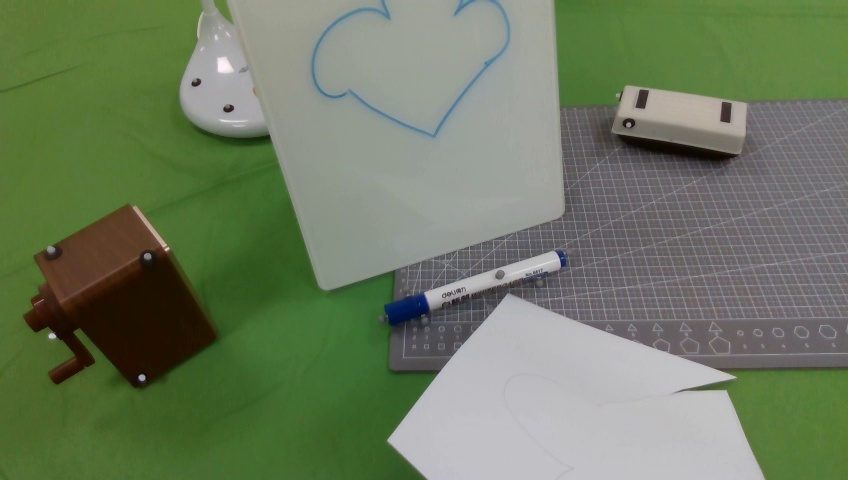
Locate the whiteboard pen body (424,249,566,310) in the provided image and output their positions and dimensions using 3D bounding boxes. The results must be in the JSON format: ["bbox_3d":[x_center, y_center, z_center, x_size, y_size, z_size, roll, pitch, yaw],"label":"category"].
[{"bbox_3d":[0.043,0.033,0.462,0.141,0.017,0.017,-17,50,-9],"label":"whiteboard pen body"}]

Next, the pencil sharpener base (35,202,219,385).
[{"bbox_3d":[-0.203,0.041,0.421,0.076,0.108,0.061,-35,56,-23],"label":"pencil sharpener base"}]

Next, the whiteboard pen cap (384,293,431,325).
[{"bbox_3d":[-0.012,0.051,0.452,0.033,0.018,0.018,-18,51,-10],"label":"whiteboard pen cap"}]

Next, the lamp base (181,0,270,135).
[{"bbox_3d":[-0.191,-0.222,0.594,0.177,0.182,0.160,33,59,30],"label":"lamp base"}]

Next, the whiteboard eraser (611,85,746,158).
[{"bbox_3d":[0.234,-0.108,0.559,0.112,0.042,0.055,14,53,15],"label":"whiteboard eraser"}]

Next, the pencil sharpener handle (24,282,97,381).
[{"bbox_3d":[-0.240,0.061,0.389,0.030,0.068,0.035,-35,43,-23],"label":"pencil sharpener handle"}]

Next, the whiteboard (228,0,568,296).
[{"bbox_3d":[-0.024,-0.146,0.476,0.217,0.308,0.142,-17,31,-9],"label":"whiteboard"}]
